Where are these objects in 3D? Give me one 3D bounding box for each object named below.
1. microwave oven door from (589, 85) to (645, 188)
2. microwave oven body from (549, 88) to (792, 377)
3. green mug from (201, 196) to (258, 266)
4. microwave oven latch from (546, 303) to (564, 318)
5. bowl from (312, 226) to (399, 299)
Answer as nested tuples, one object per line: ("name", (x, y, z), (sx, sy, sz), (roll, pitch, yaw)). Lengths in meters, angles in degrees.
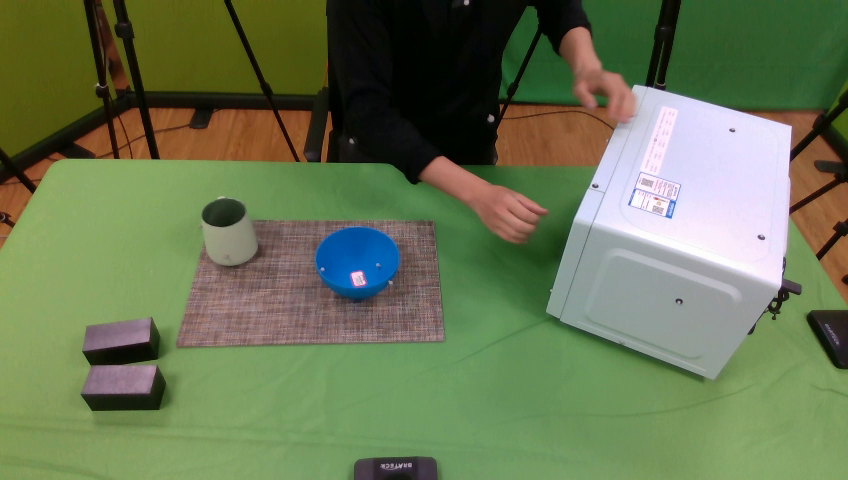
("microwave oven door", (0.342, -0.107, 1.149), (0.039, 0.245, 0.354), (20, 48, 15))
("microwave oven body", (0.456, -0.028, 1.088), (0.325, 0.261, 0.440), (20, 47, 16))
("green mug", (-0.366, -0.025, 1.130), (0.092, 0.105, 0.124), (-13, 48, -16))
("microwave oven latch", (0.242, 0.102, 1.081), (0.030, 0.029, 0.079), (21, 48, 17))
("bowl", (-0.121, 0.054, 1.091), (0.151, 0.077, 0.150), (2, 46, -2))
